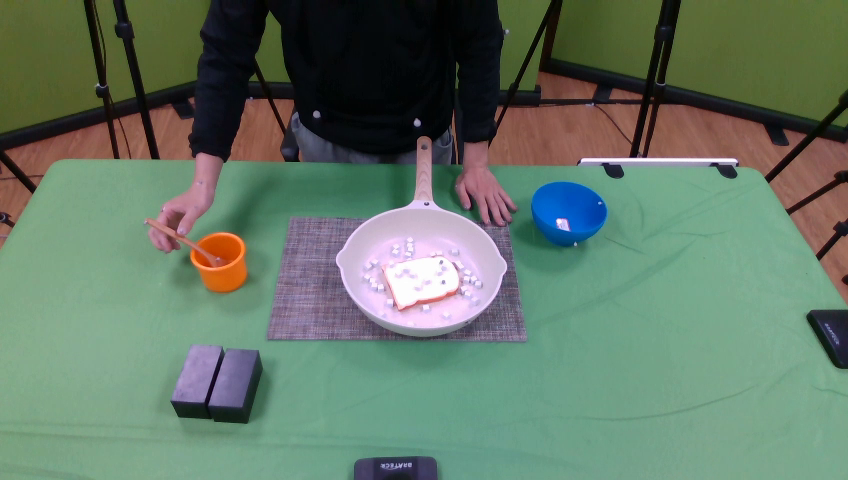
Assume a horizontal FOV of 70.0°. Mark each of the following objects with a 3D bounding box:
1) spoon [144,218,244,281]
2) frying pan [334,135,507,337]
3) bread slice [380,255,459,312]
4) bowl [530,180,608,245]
[{"bbox_3d":[-0.401,0.016,1.065,0.195,0.021,0.041,41,35,-29],"label":"spoon"},{"bbox_3d":[-0.004,-0.026,1.159,0.307,0.103,0.485,4,55,-2],"label":"frying pan"},{"bbox_3d":[-0.005,0.074,1.119,0.134,0.018,0.106,-16,50,-16],"label":"bread slice"},{"bbox_3d":[0.284,-0.044,1.222,0.151,0.077,0.150,2,46,-2],"label":"bowl"}]
